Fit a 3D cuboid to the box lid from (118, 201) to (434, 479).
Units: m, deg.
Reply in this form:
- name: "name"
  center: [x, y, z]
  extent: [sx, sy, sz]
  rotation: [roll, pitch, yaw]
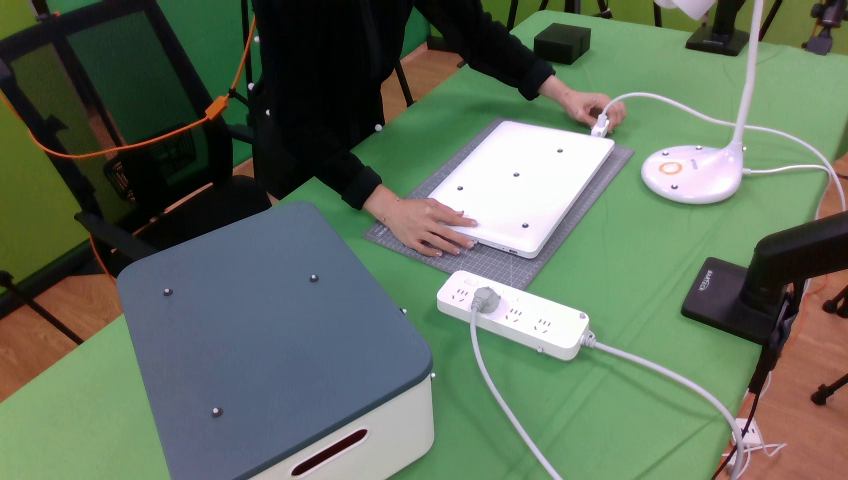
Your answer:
- name: "box lid"
  center: [-0.182, 0.087, 0.675]
  extent: [0.264, 0.015, 0.368]
  rotation: [-25, 42, -20]

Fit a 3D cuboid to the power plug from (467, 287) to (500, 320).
- name: "power plug"
  center: [0.073, 0.092, 0.814]
  extent: [0.035, 0.053, 0.073]
  rotation: [29, 54, 34]

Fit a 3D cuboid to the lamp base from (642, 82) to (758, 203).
- name: "lamp base"
  center: [0.464, -0.174, 0.993]
  extent: [0.179, 0.181, 0.159]
  rotation: [-5, 41, -1]

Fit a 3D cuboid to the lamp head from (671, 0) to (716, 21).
- name: "lamp head"
  center: [0.375, -0.373, 0.808]
  extent: [0.122, 0.113, 0.112]
  rotation: [-40, 27, 32]

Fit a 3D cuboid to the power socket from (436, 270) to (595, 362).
- name: "power socket"
  center: [0.118, 0.101, 0.832]
  extent: [0.225, 0.033, 0.072]
  rotation: [19, 48, 27]

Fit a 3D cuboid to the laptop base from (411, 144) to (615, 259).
- name: "laptop base"
  center: [0.167, -0.102, 1.075]
  extent: [0.234, 0.023, 0.355]
  rotation: [17, 46, 30]

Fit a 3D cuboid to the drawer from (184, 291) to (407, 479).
- name: "drawer"
  center: [-0.155, 0.179, 0.720]
  extent: [0.195, 0.073, 0.210]
  rotation: [-27, 40, -21]

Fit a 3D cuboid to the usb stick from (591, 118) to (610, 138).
- name: "usb stick"
  center: [0.333, -0.205, 1.151]
  extent: [0.021, 0.027, 0.059]
  rotation: [22, 53, 20]

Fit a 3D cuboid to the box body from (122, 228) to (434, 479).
- name: "box body"
  center: [-0.175, 0.142, 0.725]
  extent: [0.255, 0.161, 0.360]
  rotation: [-25, 43, -20]

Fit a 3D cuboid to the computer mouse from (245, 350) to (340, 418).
- name: "computer mouse"
  center: [-0.165, 0.173, 0.754]
  extent: [0.118, 0.041, 0.062]
  rotation: [-18, 34, -18]

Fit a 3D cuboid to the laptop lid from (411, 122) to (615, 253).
- name: "laptop lid"
  center: [0.164, -0.112, 1.069]
  extent: [0.240, 0.013, 0.357]
  rotation: [18, 46, 31]
